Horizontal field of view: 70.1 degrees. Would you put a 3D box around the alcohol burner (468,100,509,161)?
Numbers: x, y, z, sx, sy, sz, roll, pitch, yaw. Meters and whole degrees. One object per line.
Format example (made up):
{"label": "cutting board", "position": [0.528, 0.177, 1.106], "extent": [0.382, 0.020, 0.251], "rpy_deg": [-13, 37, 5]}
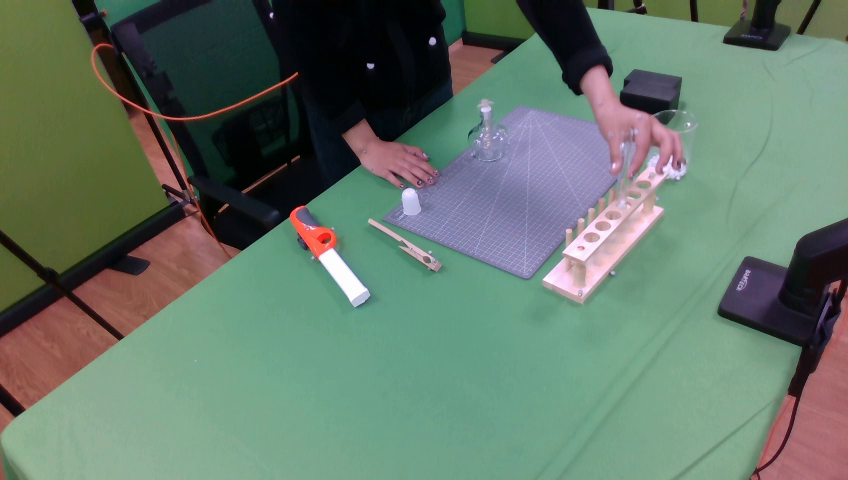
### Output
{"label": "alcohol burner", "position": [0.118, -0.209, 1.131], "extent": [0.078, 0.119, 0.077], "rpy_deg": [-6, 42, 6]}

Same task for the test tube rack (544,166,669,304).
{"label": "test tube rack", "position": [0.274, -0.018, 0.903], "extent": [0.066, 0.085, 0.243], "rpy_deg": [26, 51, 35]}

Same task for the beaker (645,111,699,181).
{"label": "beaker", "position": [0.417, -0.160, 1.032], "extent": [0.083, 0.101, 0.074], "rpy_deg": [24, 51, 34]}

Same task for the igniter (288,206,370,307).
{"label": "igniter", "position": [-0.163, 0.018, 0.986], "extent": [0.057, 0.025, 0.274], "rpy_deg": [-33, 45, -12]}

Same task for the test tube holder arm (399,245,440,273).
{"label": "test tube holder arm", "position": [-0.009, 0.027, 0.957], "extent": [0.087, 0.015, 0.010], "rpy_deg": [35, 90, 40]}

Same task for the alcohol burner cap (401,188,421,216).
{"label": "alcohol burner cap", "position": [-0.024, -0.069, 1.048], "extent": [0.034, 0.048, 0.033], "rpy_deg": [-5, 40, 5]}

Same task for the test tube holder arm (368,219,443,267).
{"label": "test tube holder arm", "position": [-0.034, 0.003, 0.985], "extent": [0.177, 0.015, 0.013], "rpy_deg": [33, 89, 40]}

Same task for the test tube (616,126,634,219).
{"label": "test tube", "position": [0.280, -0.090, 0.847], "extent": [0.017, 0.151, 0.017], "rpy_deg": [-6, 38, 5]}
